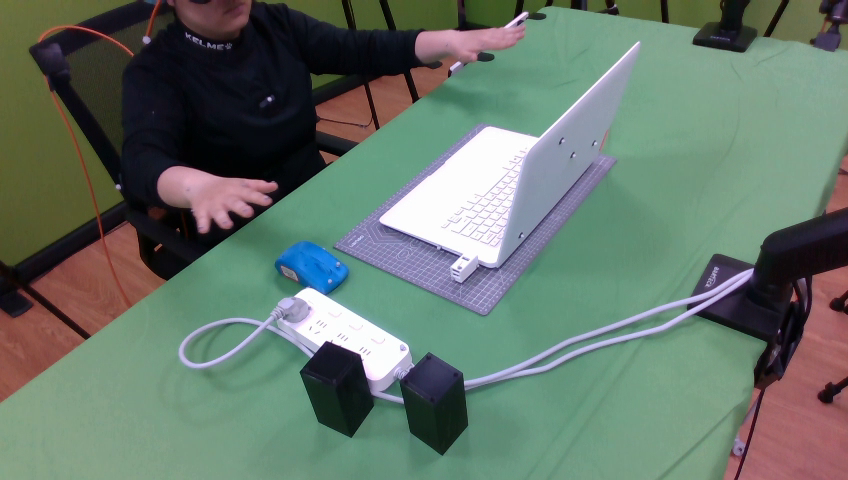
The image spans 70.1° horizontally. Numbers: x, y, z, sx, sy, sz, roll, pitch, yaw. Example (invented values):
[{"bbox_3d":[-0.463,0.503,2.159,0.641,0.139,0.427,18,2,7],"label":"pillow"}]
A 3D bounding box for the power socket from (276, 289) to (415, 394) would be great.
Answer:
[{"bbox_3d":[-0.114,0.133,0.821,0.225,0.033,0.072,25,49,33],"label":"power socket"}]

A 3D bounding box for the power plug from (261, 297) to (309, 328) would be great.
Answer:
[{"bbox_3d":[-0.193,0.107,0.831,0.073,0.053,0.035,-32,43,-25],"label":"power plug"}]

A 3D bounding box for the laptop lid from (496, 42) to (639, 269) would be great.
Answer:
[{"bbox_3d":[0.220,-0.130,0.913,0.013,0.242,0.357,31,51,21],"label":"laptop lid"}]

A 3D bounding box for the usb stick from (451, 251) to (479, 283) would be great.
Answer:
[{"bbox_3d":[0.065,0.036,0.900,0.021,0.027,0.059,24,46,31],"label":"usb stick"}]

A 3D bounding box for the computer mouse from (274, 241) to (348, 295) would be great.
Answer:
[{"bbox_3d":[-0.176,0.040,0.936,0.116,0.041,0.063,26,48,27],"label":"computer mouse"}]

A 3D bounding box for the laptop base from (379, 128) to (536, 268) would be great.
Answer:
[{"bbox_3d":[0.118,-0.088,1.058,0.233,0.023,0.355,19,47,32],"label":"laptop base"}]
